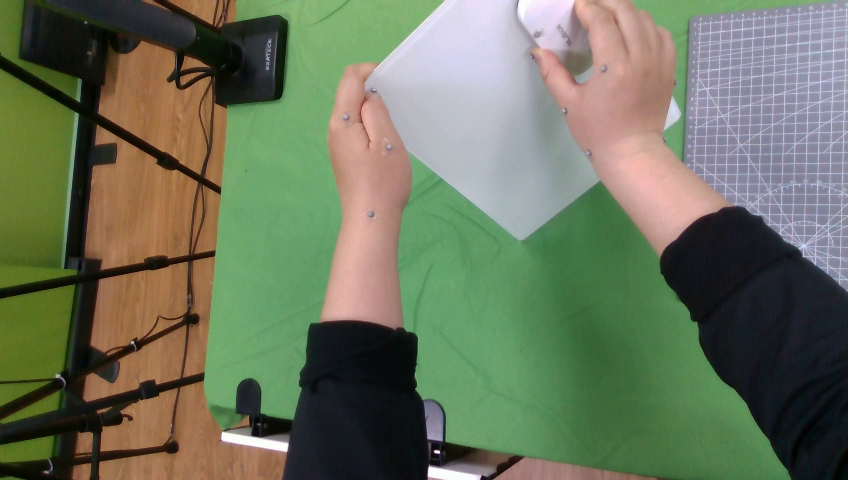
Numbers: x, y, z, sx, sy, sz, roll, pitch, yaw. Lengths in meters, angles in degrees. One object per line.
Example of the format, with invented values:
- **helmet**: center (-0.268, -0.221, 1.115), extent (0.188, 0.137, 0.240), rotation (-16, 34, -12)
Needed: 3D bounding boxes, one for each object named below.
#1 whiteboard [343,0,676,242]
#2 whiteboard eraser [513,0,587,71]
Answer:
- **whiteboard**: center (0.078, -0.167, 0.595), extent (0.217, 0.309, 0.142), rotation (-39, 51, 16)
- **whiteboard eraser**: center (0.103, -0.172, 0.488), extent (0.041, 0.102, 0.018), rotation (-45, 58, 13)
